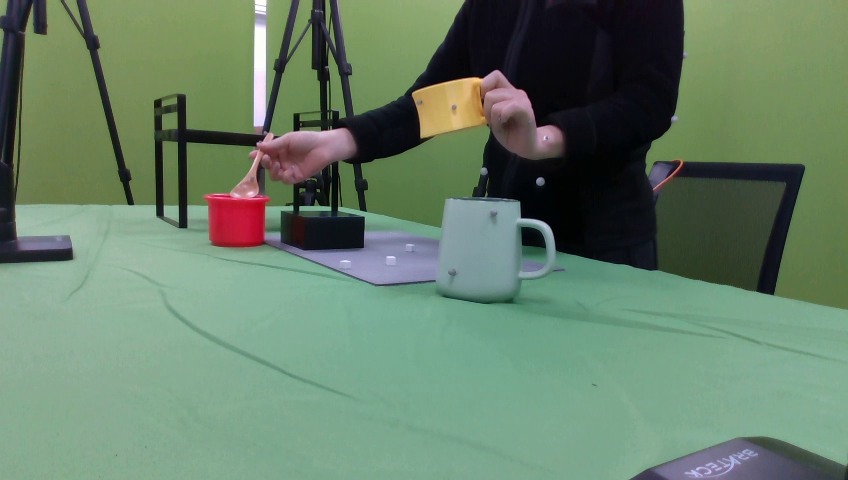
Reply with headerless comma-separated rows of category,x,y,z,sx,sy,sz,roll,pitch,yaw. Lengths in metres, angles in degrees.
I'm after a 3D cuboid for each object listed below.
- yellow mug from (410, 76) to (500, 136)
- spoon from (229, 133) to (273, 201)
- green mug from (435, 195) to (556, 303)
yellow mug,0.048,-0.191,0.851,0.130,0.064,0.100,-6,11,35
spoon,-0.275,-0.123,0.992,0.041,0.021,0.193,5,45,2
green mug,0.074,0.009,0.624,0.125,0.105,0.093,5,7,23
